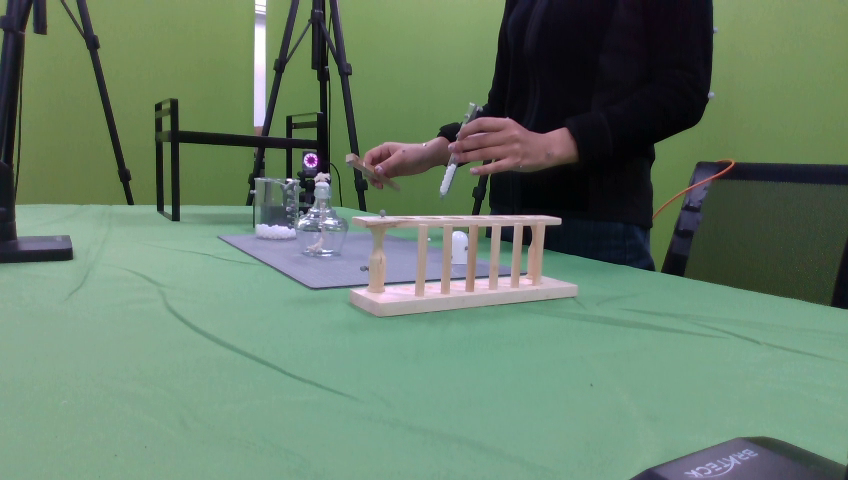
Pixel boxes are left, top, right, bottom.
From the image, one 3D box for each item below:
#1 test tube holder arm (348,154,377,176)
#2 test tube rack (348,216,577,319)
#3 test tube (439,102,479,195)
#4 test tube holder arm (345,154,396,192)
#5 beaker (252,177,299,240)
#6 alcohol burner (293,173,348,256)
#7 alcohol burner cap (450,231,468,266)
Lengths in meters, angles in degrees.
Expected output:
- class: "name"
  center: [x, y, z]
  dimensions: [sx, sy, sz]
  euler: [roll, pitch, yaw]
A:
- class: "test tube holder arm"
  center: [-0.109, -0.133, 1.088]
  dimensions: [0.010, 0.015, 0.088]
  euler: [3, -12, 26]
- class: "test tube rack"
  center: [0.048, 0.021, 0.619]
  dimensions: [0.244, 0.085, 0.066]
  euler: [-2, 8, -31]
- class: "test tube"
  center: [0.052, -0.139, 0.930]
  dimensions: [0.017, 0.150, 0.017]
  euler: [17, 21, -6]
- class: "test tube holder arm"
  center: [-0.096, -0.123, 1.131]
  dimensions: [0.013, 0.015, 0.179]
  euler: [4, -12, 24]
- class: "beaker"
  center: [-0.245, -0.052, 1.005]
  dimensions: [0.074, 0.100, 0.083]
  euler: [-3, 10, -32]
- class: "alcohol burner"
  center: [-0.146, -0.036, 0.859]
  dimensions: [0.078, 0.119, 0.078]
  euler: [4, 8, 0]
- class: "alcohol burner cap"
  center: [0.046, 0.012, 0.839]
  dimensions: [0.034, 0.048, 0.034]
  euler: [3, 6, 0]
